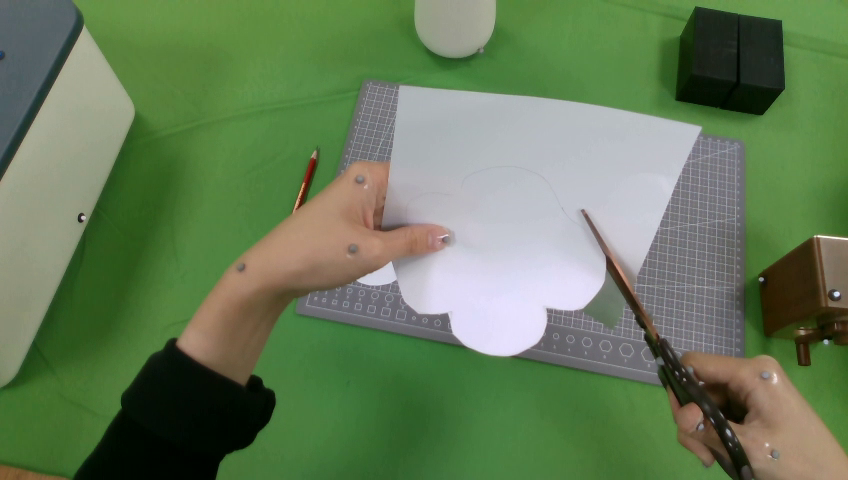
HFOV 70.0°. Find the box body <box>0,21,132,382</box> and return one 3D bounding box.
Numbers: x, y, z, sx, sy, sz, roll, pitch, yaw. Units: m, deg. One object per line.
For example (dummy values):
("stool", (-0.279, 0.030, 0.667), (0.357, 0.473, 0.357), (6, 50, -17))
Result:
("box body", (-0.482, -0.058, 0.585), (0.254, 0.161, 0.361), (10, 68, 4))

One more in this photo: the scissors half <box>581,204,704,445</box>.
("scissors half", (0.133, 0.053, 0.365), (0.013, 0.040, 0.176), (-29, 107, 5))

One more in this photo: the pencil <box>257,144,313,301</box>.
("pencil", (-0.147, -0.025, 0.657), (0.012, 0.012, 0.193), (11, 66, 5))

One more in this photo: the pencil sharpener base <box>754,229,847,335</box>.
("pencil sharpener base", (0.370, 0.047, 0.575), (0.061, 0.108, 0.076), (6, 68, 3))

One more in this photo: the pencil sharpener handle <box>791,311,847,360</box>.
("pencil sharpener handle", (0.360, 0.088, 0.545), (0.036, 0.068, 0.030), (11, 67, -10))

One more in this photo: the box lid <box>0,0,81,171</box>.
("box lid", (-0.482, -0.090, 0.517), (0.263, 0.015, 0.369), (11, 68, 4))

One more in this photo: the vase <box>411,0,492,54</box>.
("vase", (0.031, -0.301, 0.667), (0.098, 0.201, 0.097), (0, 66, 1))

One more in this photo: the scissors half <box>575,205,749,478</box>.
("scissors half", (0.132, 0.054, 0.343), (0.013, 0.040, 0.174), (-30, 81, 0))

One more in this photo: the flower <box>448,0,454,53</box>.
("flower", (0.027, -0.346, 0.596), (0.044, 0.365, 0.038), (3, 50, 5))
